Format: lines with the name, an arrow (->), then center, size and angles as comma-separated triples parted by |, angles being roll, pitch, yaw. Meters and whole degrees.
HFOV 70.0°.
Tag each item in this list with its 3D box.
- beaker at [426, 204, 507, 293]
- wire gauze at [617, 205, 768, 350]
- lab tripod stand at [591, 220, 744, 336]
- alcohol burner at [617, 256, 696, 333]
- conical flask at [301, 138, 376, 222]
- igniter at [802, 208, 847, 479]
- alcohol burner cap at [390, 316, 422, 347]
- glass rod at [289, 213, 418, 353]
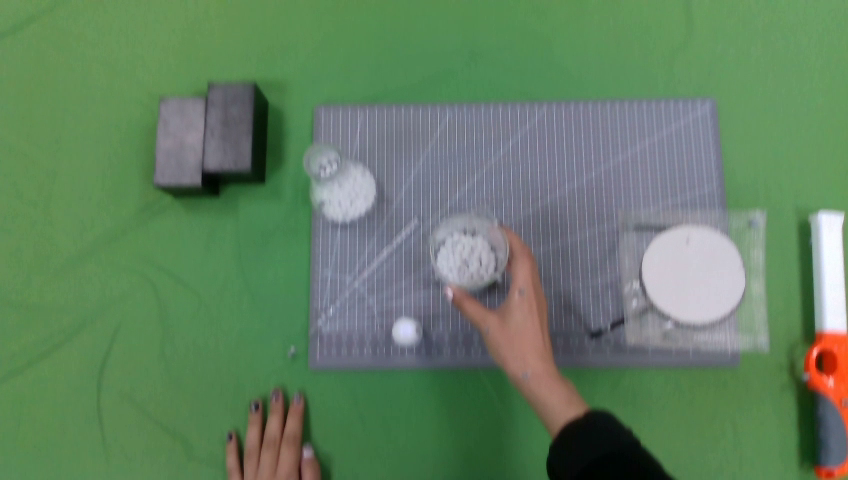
beaker -> 0.042, 0.012, 0.605 | 0.074, 0.100, 0.084 | 22, 81, 5
wire gauze -> 0.228, 0.030, 0.514 | 0.125, 0.011, 0.121 | 2, 82, 2
lab tripod stand -> 0.229, 0.043, 0.580 | 0.148, 0.132, 0.148 | 0, 83, 1
alcohol burner -> 0.231, 0.051, 0.589 | 0.078, 0.119, 0.077 | -1, 81, 4
conical flask -> -0.092, -0.065, 0.608 | 0.075, 0.122, 0.075 | 0, 80, 2
igniter -> 0.416, 0.103, 0.623 | 0.057, 0.025, 0.275 | 5, 81, -9
alcohol burner cap -> -0.020, 0.094, 0.623 | 0.034, 0.048, 0.033 | 0, 81, 2
glass rod -> -0.074, 0.044, 0.648 | 0.008, 0.008, 0.199 | 42, 84, 7
